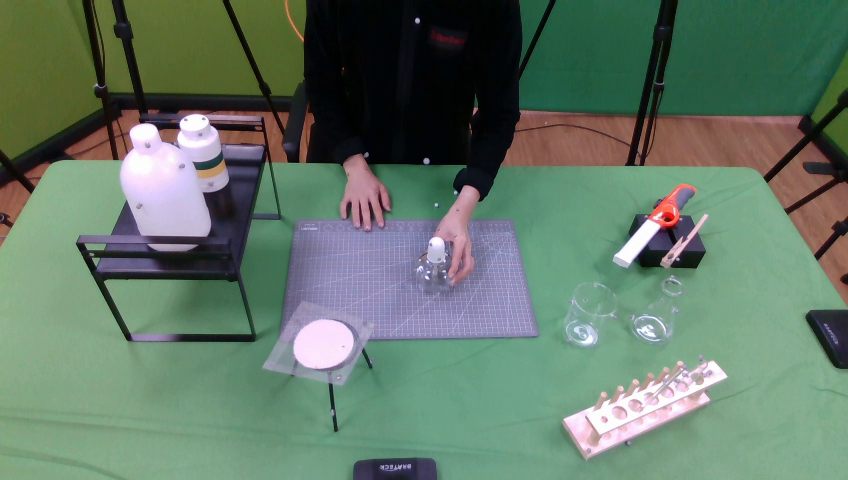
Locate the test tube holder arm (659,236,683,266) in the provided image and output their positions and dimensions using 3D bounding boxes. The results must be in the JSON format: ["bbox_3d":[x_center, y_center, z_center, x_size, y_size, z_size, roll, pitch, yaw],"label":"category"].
[{"bbox_3d":[0.472,0.020,1.149,0.010,0.015,0.088,34,54,27],"label":"test tube holder arm"}]

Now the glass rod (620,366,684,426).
[{"bbox_3d":[0.322,0.227,0.866,0.008,0.200,0.008,5,51,-7],"label":"glass rod"}]

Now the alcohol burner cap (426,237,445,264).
[{"bbox_3d":[0.021,0.015,1.052,0.034,0.048,0.033,0,48,0],"label":"alcohol burner cap"}]

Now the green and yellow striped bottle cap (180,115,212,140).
[{"bbox_3d":[-0.358,-0.177,0.951,0.045,0.020,0.045,1,44,-1],"label":"green and yellow striped bottle cap"}]

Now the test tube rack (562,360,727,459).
[{"bbox_3d":[0.341,0.247,0.940,0.243,0.085,0.066,-16,49,-18],"label":"test tube rack"}]

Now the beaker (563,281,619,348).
[{"bbox_3d":[0.283,0.129,1.041,0.074,0.101,0.083,11,46,7],"label":"beaker"}]

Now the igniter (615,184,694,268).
[{"bbox_3d":[0.459,-0.035,1.197,0.057,0.025,0.276,32,55,27],"label":"igniter"}]

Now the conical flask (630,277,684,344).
[{"bbox_3d":[0.408,0.117,1.045,0.075,0.122,0.075,2,46,-2],"label":"conical flask"}]

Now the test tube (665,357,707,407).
[{"bbox_3d":[0.387,0.216,0.905,0.017,0.151,0.017,1,53,-1],"label":"test tube"}]

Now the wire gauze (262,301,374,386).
[{"bbox_3d":[-0.150,0.148,0.873,0.121,0.011,0.124,14,46,12],"label":"wire gauze"}]

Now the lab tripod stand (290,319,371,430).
[{"bbox_3d":[-0.146,0.194,0.923,0.148,0.132,0.147,1,47,-1],"label":"lab tripod stand"}]

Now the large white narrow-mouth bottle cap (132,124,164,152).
[{"bbox_3d":[-0.371,-0.137,0.813,0.038,0.024,0.037,3,46,-3],"label":"large white narrow-mouth bottle cap"}]

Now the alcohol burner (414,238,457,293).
[{"bbox_3d":[0.020,0.039,1.080,0.078,0.120,0.077,0,49,1],"label":"alcohol burner"}]

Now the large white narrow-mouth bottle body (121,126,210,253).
[{"bbox_3d":[-0.378,-0.077,0.875,0.102,0.195,0.101,3,46,-3],"label":"large white narrow-mouth bottle body"}]

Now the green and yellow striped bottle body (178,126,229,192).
[{"bbox_3d":[-0.361,-0.142,0.989,0.063,0.120,0.063,2,46,-2],"label":"green and yellow striped bottle body"}]

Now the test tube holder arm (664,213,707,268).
[{"bbox_3d":[0.507,-0.001,1.171,0.013,0.015,0.178,33,53,26],"label":"test tube holder arm"}]
